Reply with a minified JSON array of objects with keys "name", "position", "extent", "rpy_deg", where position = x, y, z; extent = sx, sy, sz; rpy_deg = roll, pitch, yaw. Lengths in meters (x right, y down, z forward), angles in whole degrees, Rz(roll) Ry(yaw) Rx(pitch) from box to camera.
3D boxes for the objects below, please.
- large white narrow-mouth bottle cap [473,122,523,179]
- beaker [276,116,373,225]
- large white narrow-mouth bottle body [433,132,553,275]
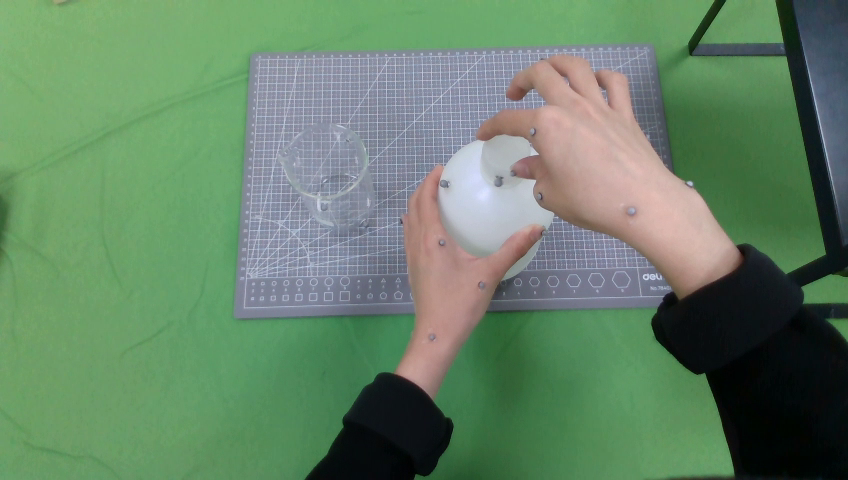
[{"name":"large white narrow-mouth bottle cap","position":[0.053,-0.063,0.433],"extent":[0.038,0.024,0.037],"rpy_deg":[-1,74,2]},{"name":"beaker","position":[-0.090,-0.061,0.580],"extent":[0.084,0.101,0.073],"rpy_deg":[8,73,4]},{"name":"large white narrow-mouth bottle body","position":[0.059,-0.037,0.524],"extent":[0.102,0.195,0.101],"rpy_deg":[-1,74,2]}]
